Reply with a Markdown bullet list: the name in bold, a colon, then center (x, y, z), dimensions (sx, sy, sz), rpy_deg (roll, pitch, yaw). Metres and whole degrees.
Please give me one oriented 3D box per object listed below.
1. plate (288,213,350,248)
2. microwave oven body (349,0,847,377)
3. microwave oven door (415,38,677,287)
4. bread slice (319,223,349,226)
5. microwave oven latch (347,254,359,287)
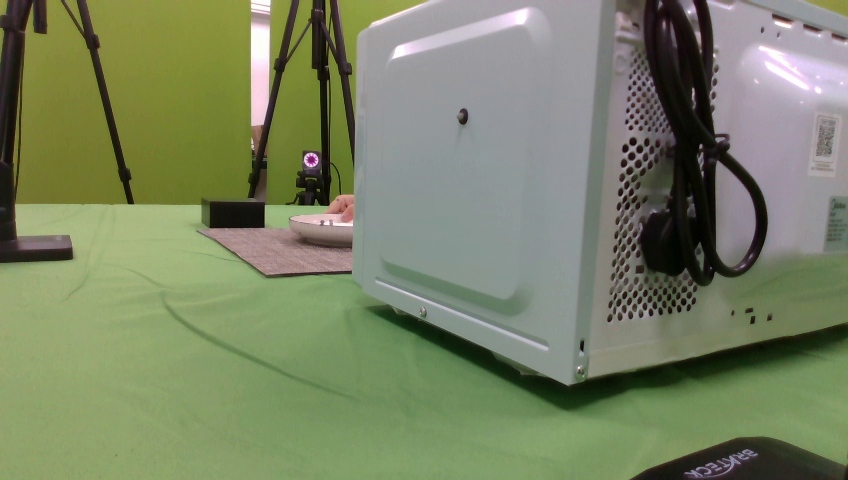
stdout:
- **plate**: center (-0.122, -0.016, 1.008), dimensions (0.209, 0.038, 0.209), rpy_deg (3, 8, 0)
- **microwave oven body**: center (0.199, -0.053, 0.539), dimensions (0.444, 0.260, 0.324), rpy_deg (-1, 7, -32)
- **microwave oven door**: center (0.157, -0.079, 0.686), dimensions (0.358, 0.243, 0.039), rpy_deg (-2, 9, -31)
- **bread slice**: center (-0.122, -0.015, 1.004), dimensions (0.131, 0.019, 0.105), rpy_deg (4, 7, 12)
- **microwave oven latch**: center (-0.034, 0.028, 0.580), dimensions (0.079, 0.029, 0.030), rpy_deg (-1, 7, -31)
